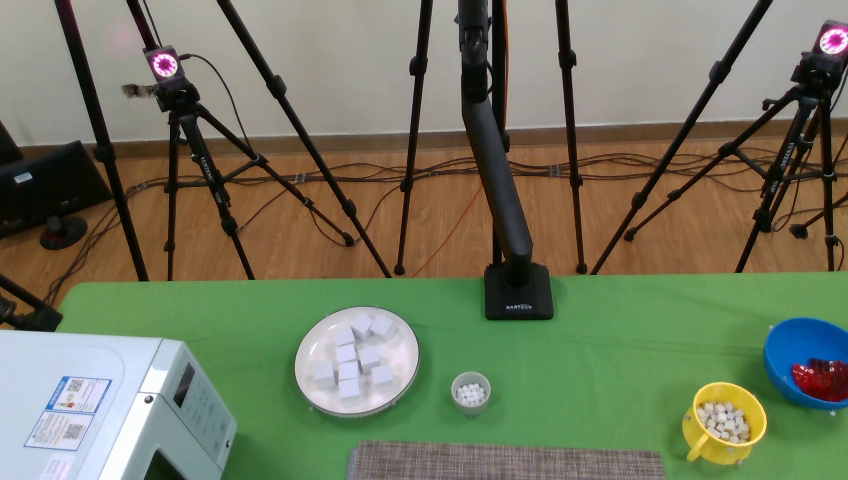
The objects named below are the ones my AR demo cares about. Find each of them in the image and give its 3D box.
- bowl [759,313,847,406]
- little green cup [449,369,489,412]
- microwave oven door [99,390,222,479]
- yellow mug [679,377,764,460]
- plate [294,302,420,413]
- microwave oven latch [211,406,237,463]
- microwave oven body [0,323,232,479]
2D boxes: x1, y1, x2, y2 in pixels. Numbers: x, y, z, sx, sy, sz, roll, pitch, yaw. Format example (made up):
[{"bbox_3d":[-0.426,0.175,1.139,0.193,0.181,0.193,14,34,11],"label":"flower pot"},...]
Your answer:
[{"bbox_3d":[0.584,0.194,0.923,0.151,0.077,0.150,-3,49,4],"label":"bowl"},{"bbox_3d":[0.072,0.239,0.955,0.061,0.039,0.061,-3,47,3],"label":"little green cup"},{"bbox_3d":[-0.340,0.387,0.695,0.039,0.246,0.352,2,48,7],"label":"microwave oven door"},{"bbox_3d":[0.420,0.268,0.879,0.131,0.064,0.099,-34,54,-22],"label":"yellow mug"},{"bbox_3d":[-0.109,0.197,1.010,0.207,0.039,0.205,-3,48,3],"label":"plate"},{"bbox_3d":[-0.308,0.293,0.915,0.030,0.030,0.078,3,49,7],"label":"microwave oven latch"},{"bbox_3d":[-0.480,0.355,0.744,0.326,0.263,0.437,2,49,6],"label":"microwave oven body"}]
